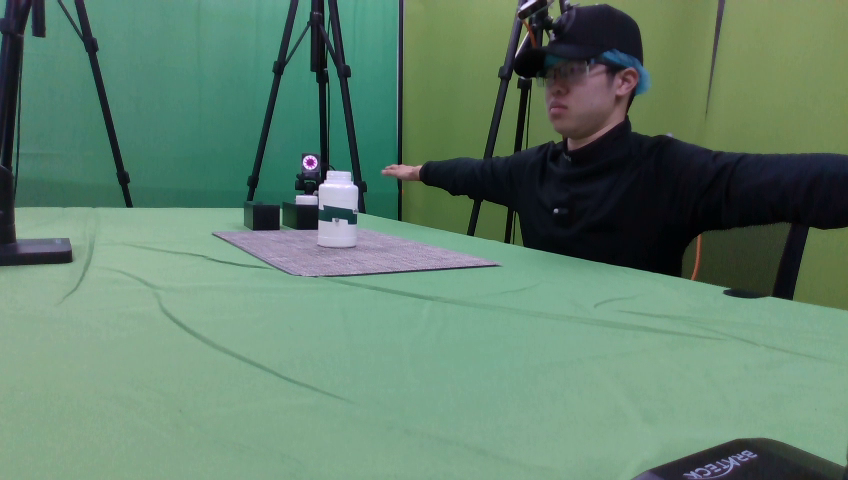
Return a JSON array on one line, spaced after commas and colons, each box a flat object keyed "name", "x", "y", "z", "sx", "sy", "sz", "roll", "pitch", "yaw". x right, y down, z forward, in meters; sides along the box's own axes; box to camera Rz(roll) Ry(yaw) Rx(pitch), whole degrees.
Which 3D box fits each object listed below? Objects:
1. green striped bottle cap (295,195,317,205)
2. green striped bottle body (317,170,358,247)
[{"name": "green striped bottle cap", "x": -0.240, "y": -0.082, "z": 1.228, "sx": 0.044, "sy": 0.020, "sz": 0.044, "roll": 1, "pitch": 4, "yaw": 0}, {"name": "green striped bottle body", "x": -0.138, "y": -0.051, "z": 0.964, "sx": 0.063, "sy": 0.119, "sz": 0.063, "roll": 2, "pitch": 7, "yaw": 0}]
